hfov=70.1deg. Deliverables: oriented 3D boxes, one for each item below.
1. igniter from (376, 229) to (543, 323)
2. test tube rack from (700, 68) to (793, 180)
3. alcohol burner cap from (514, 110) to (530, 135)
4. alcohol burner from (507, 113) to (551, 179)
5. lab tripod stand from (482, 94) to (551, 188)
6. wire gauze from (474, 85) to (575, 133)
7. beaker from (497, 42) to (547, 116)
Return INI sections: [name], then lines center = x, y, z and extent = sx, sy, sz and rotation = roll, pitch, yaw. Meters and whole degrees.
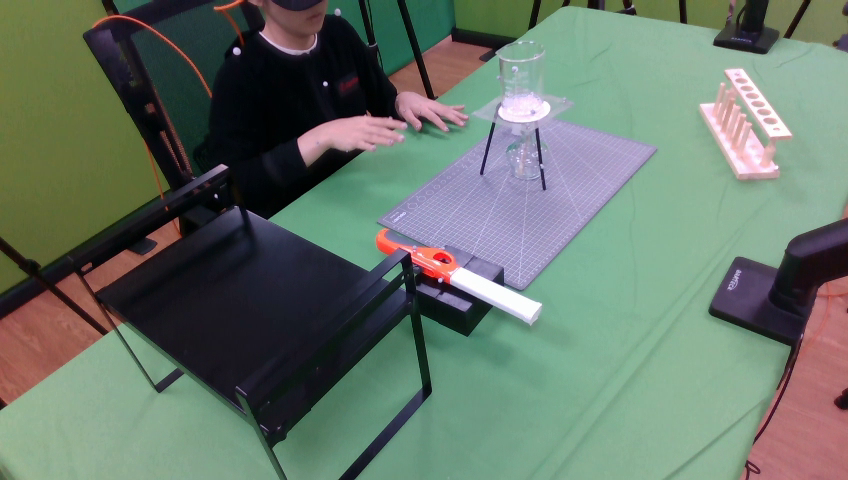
[igniter]
center = 0.038, 0.044, 0.843
extent = 0.274, 0.025, 0.057
rotation = 25, 47, 29
[test tube rack]
center = 0.572, -0.215, 1.089
extent = 0.066, 0.085, 0.241
rotation = -3, 41, 7
[alcohol burner cap]
center = 0.194, -0.235, 1.200
extent = 0.034, 0.048, 0.033
rotation = -5, 42, 5
[alcohol burner]
center = 0.186, -0.169, 1.069
extent = 0.078, 0.119, 0.077
rotation = -5, 39, 4
[lab tripod stand]
center = 0.172, -0.176, 1.064
extent = 0.148, 0.132, 0.147
rotation = -5, 42, 5
[wire gauze]
center = 0.168, -0.219, 1.015
extent = 0.125, 0.011, 0.120
rotation = -38, 45, -26
[beaker]
center = 0.160, -0.262, 0.989
extent = 0.083, 0.101, 0.074
rotation = 16, 46, 28
